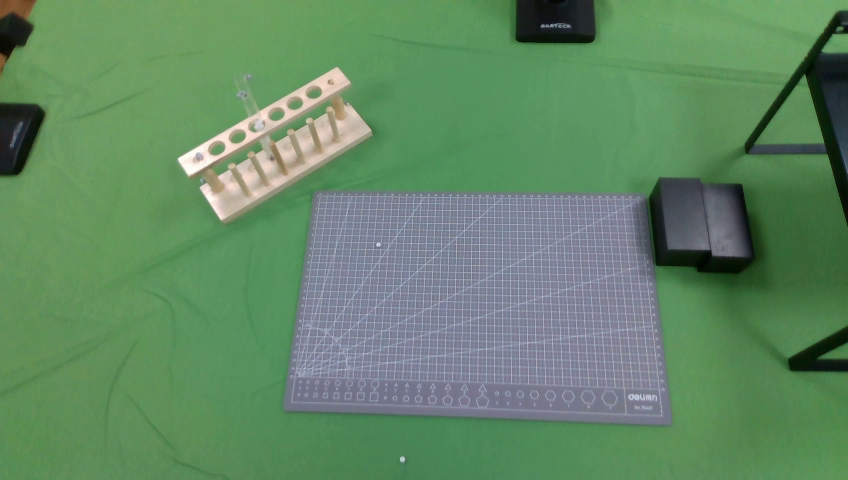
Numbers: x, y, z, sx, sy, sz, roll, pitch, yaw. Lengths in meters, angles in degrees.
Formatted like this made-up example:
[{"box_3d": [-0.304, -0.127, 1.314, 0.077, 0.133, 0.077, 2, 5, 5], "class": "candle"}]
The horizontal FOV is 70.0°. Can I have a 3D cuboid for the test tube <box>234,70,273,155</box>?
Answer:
[{"box_3d": [-0.217, -0.160, 0.783, 0.017, 0.151, 0.017, -1, 60, 1], "class": "test tube"}]

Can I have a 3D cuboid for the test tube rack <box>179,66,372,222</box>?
[{"box_3d": [-0.194, -0.131, 0.824, 0.242, 0.086, 0.066, -34, 68, -12], "class": "test tube rack"}]
